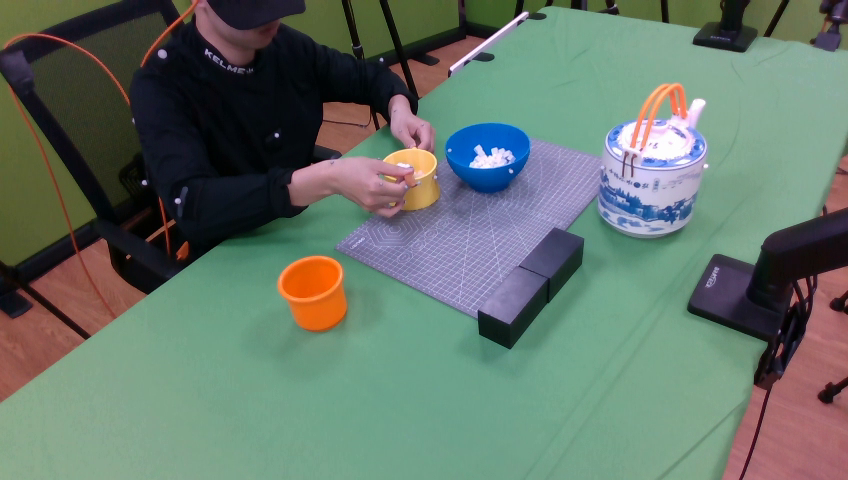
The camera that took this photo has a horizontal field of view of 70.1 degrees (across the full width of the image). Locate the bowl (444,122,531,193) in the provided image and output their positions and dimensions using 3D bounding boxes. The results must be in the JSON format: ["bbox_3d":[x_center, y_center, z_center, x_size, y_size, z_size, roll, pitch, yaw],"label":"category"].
[{"bbox_3d":[0.113,-0.136,1.063,0.151,0.077,0.150,-4,41,4],"label":"bowl"}]

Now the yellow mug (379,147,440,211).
[{"bbox_3d":[-0.023,-0.117,1.070,0.100,0.064,0.130,0,41,8],"label":"yellow mug"}]

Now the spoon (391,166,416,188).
[{"bbox_3d":[-0.030,-0.103,0.980,0.042,0.021,0.193,-10,11,-4],"label":"spoon"}]

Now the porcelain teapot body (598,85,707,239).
[{"bbox_3d":[0.362,-0.137,0.921,0.144,0.226,0.206,29,51,36],"label":"porcelain teapot body"}]

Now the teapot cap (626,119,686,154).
[{"bbox_3d":[0.338,-0.153,0.882,0.085,0.044,0.085,-3,38,3],"label":"teapot cap"}]
